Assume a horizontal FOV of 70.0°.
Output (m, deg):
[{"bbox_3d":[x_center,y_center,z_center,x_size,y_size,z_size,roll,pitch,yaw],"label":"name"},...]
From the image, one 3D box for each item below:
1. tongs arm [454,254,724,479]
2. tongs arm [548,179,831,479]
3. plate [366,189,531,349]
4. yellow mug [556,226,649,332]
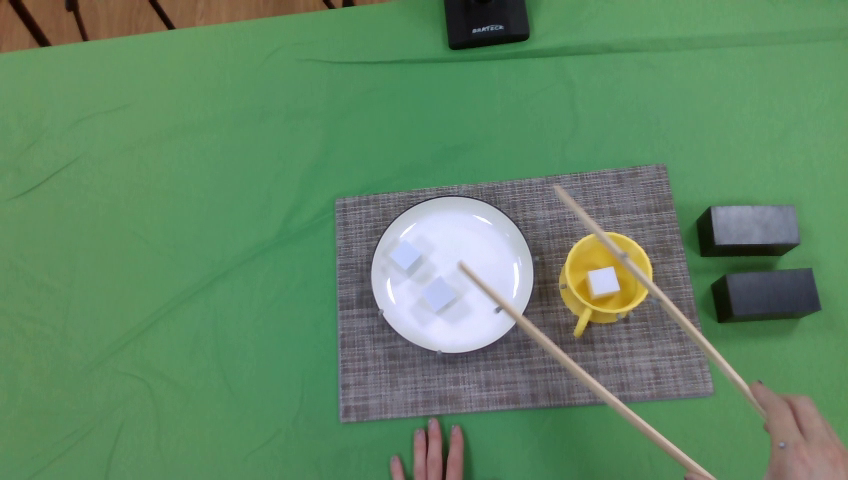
[{"bbox_3d":[0.163,0.123,0.559,0.028,0.028,0.383,-42,58,-14],"label":"tongs arm"},{"bbox_3d":[0.221,0.078,0.565,0.051,0.027,0.380,-35,57,-5],"label":"tongs arm"},{"bbox_3d":[0.031,0.038,0.774,0.207,0.039,0.206,-1,73,5],"label":"plate"},{"bbox_3d":[0.209,0.053,0.736,0.099,0.064,0.130,25,77,12],"label":"yellow mug"}]
